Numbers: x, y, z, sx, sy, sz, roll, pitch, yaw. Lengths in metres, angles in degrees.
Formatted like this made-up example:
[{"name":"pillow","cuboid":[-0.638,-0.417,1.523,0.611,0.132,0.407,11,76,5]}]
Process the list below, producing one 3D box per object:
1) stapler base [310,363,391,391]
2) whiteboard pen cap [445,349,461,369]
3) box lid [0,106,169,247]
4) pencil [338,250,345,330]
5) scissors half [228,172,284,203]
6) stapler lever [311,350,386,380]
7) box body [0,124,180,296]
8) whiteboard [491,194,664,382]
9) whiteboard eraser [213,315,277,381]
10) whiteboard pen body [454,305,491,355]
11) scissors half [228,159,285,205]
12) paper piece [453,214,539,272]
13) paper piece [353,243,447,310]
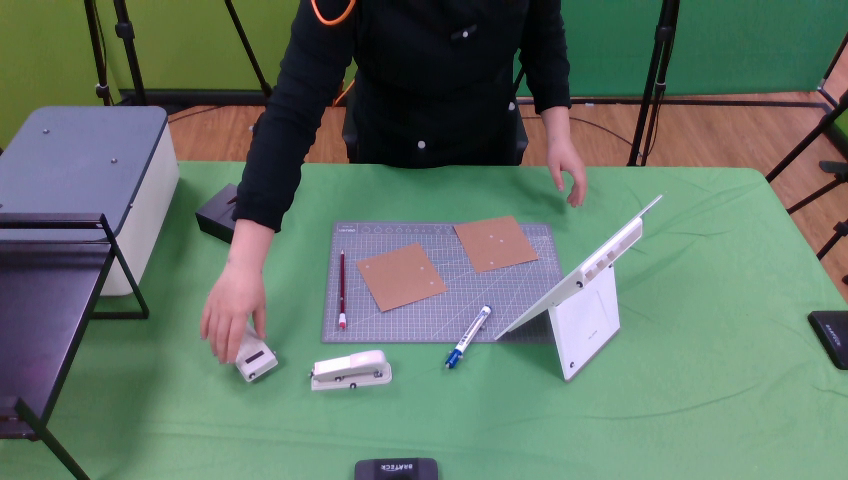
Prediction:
[{"name":"stapler base","cuboid":[-0.120,0.215,0.980,0.131,0.024,0.041,-5,44,-7]},{"name":"whiteboard pen cap","cuboid":[0.049,0.197,1.011,0.018,0.018,0.033,23,49,17]},{"name":"box lid","cuboid":[-0.624,-0.125,1.067,0.263,0.015,0.369,0,46,-4]},{"name":"pencil","cuboid":[-0.150,0.085,1.108,0.012,0.012,0.192,-1,44,-6]},{"name":"scissors half","cuboid":[-0.339,-0.101,1.229,0.013,0.040,0.175,21,28,16]},{"name":"stapler lever","cuboid":[-0.120,0.198,0.963,0.118,0.040,0.026,-4,44,-8]},{"name":"box body","cuboid":[-0.628,-0.075,1.122,0.254,0.161,0.361,1,46,-4]},{"name":"whiteboard","cuboid":[0.280,0.100,0.969,0.217,0.306,0.143,-33,77,-31]},{"name":"whiteboard eraser","cuboid":[-0.293,0.176,0.990,0.055,0.042,0.112,-30,55,-30]},{"name":"whiteboard pen body","cuboid":[0.079,0.163,1.047,0.017,0.017,0.140,26,50,19]},{"name":"scissors half","cuboid":[-0.335,-0.116,1.217,0.013,0.040,0.174,26,46,12]},{"name":"paper piece","cuboid":[0.142,0.003,1.212,0.135,0.004,0.135,-12,47,-13]},{"name":"paper piece","cuboid":[-0.045,0.066,1.136,0.136,0.009,0.137,-13,47,-23]}]
